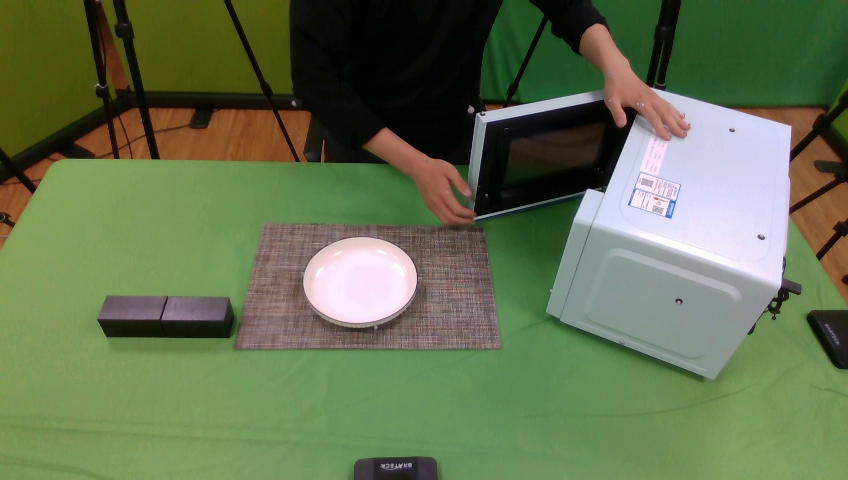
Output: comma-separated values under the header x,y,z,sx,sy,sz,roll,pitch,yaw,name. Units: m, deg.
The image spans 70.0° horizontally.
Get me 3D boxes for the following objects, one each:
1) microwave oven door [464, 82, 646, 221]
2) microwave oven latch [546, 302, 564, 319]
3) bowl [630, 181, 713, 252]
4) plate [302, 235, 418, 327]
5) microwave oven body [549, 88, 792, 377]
x,y,z,sx,sy,sz,roll,pitch,yaw,name
0.258,-0.176,1.208,0.356,0.245,0.039,-14,48,-17,microwave oven door
0.242,0.102,1.081,0.030,0.029,0.079,22,48,17,microwave oven latch
0.452,-0.031,1.140,0.151,0.077,0.150,4,49,-4,bowl
-0.114,0.077,1.098,0.208,0.039,0.206,2,46,-2,plate
0.456,-0.028,1.088,0.325,0.261,0.440,20,47,16,microwave oven body
